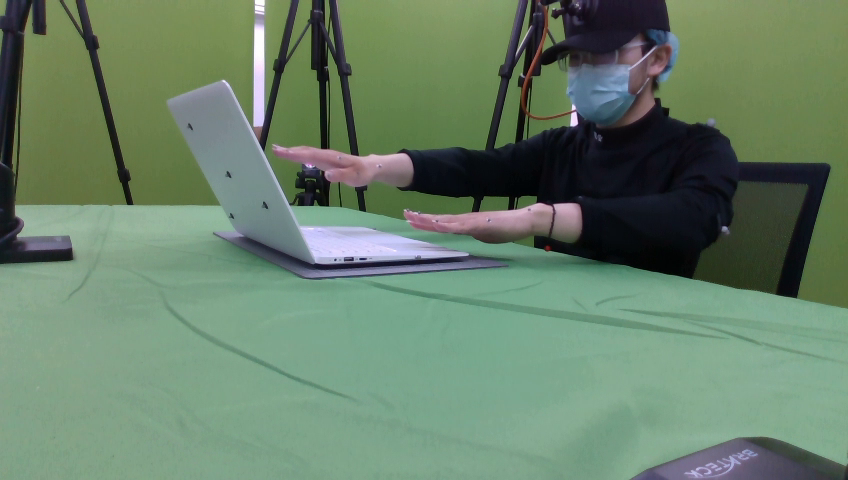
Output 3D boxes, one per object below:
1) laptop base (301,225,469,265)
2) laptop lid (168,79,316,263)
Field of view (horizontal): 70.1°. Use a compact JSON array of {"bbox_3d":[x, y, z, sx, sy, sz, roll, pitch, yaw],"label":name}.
[{"bbox_3d":[-0.124,0.005,0.936,0.237,0.023,0.352,2,6,-33],"label":"laptop base"},{"bbox_3d":[-0.264,-0.093,0.831,0.013,0.242,0.355,-33,25,-25],"label":"laptop lid"}]
